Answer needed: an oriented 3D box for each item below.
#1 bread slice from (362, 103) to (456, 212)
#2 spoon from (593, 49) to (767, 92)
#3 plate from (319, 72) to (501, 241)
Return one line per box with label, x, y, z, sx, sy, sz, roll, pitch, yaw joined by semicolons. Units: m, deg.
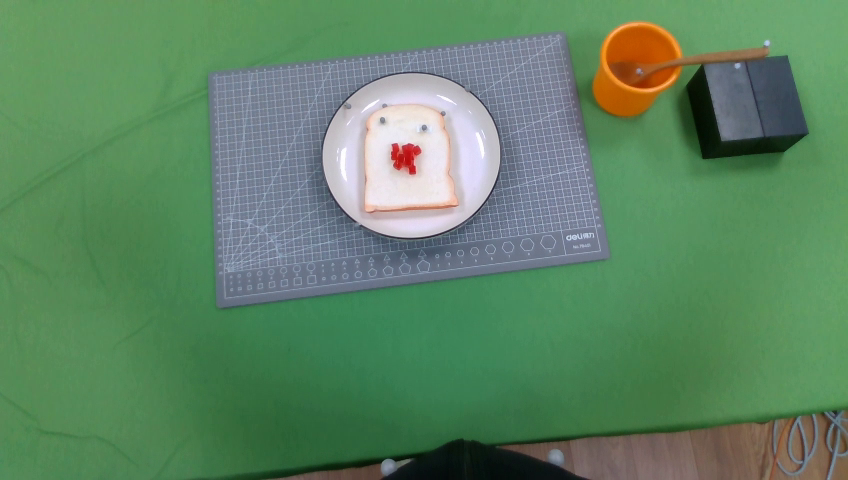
bread slice;-0.024;-0.096;0.709;0.107;0.018;0.133;-6;75;-2
spoon;0.277;-0.193;0.677;0.022;0.192;0.041;34;71;-36
plate;-0.015;-0.096;0.708;0.209;0.038;0.208;0;75;1
